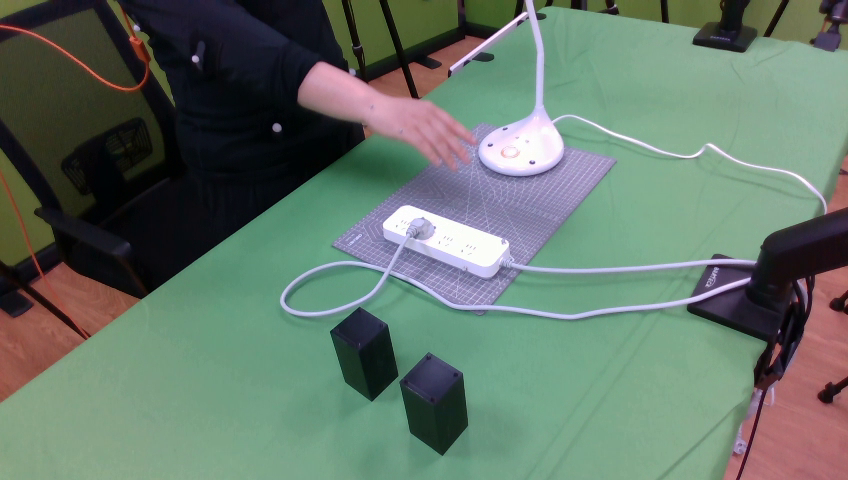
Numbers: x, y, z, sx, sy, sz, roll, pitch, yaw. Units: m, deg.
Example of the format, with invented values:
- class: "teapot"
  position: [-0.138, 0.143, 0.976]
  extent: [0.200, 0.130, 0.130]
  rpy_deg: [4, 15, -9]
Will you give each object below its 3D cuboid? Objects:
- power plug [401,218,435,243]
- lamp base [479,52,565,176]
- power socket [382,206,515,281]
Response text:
- class: "power plug"
  position: [-0.015, -0.006, 0.937]
  extent: [0.073, 0.053, 0.035]
  rpy_deg: [-36, 47, -26]
- class: "lamp base"
  position: [0.181, -0.235, 1.094]
  extent: [0.159, 0.181, 0.179]
  rpy_deg: [18, 44, 27]
- class: "power socket"
  position: [0.032, 0.002, 0.950]
  extent: [0.225, 0.033, 0.072]
  rpy_deg: [21, 49, 29]
